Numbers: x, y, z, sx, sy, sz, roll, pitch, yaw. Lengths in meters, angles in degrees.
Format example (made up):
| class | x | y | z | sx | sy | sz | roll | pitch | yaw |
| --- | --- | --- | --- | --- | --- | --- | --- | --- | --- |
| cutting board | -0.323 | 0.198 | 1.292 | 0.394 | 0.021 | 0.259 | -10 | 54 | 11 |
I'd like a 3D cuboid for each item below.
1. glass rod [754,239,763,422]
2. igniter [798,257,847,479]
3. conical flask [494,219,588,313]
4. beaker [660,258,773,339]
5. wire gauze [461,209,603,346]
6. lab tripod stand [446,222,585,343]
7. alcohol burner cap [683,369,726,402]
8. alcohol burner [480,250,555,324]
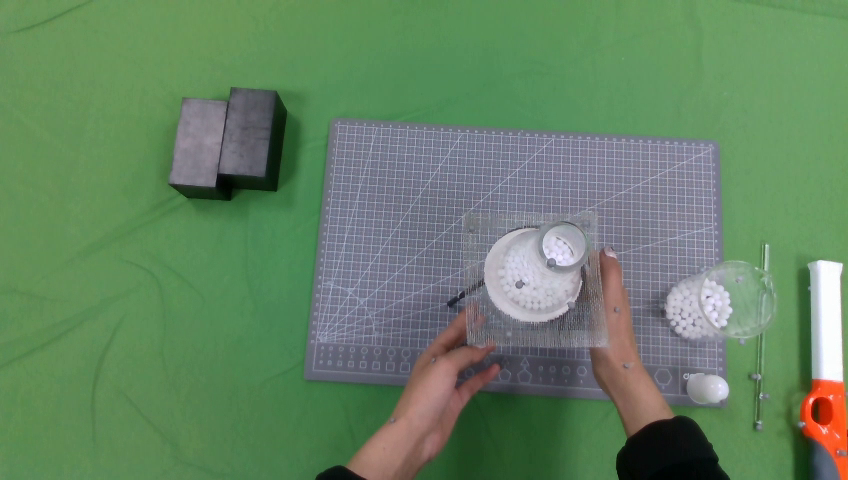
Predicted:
| class | x | y | z | sx | sy | sz | roll | pitch | yaw |
| --- | --- | --- | --- | --- | --- | --- | --- | --- | --- |
| glass rod | 0.364 | 0.095 | 0.658 | 0.008 | 0.008 | 0.199 | 7 | 78 | 1 |
| igniter | 0.420 | 0.155 | 0.635 | 0.057 | 0.025 | 0.275 | 8 | 79 | -8 |
| conical flask | 0.097 | 0.015 | 0.479 | 0.075 | 0.122 | 0.075 | 0 | 78 | 1 |
| beaker | 0.293 | 0.062 | 0.615 | 0.084 | 0.100 | 0.073 | -33 | 80 | -7 |
| wire gauze | 0.096 | 0.032 | 0.536 | 0.125 | 0.011 | 0.121 | 0 | 80 | -2 |
| lab tripod stand | 0.095 | 0.044 | 0.601 | 0.148 | 0.132 | 0.148 | 0 | 79 | 1 |
| alcohol burner cap | 0.293 | 0.151 | 0.626 | 0.034 | 0.048 | 0.033 | 0 | 78 | 1 |
| alcohol burner | 0.096 | 0.044 | 0.611 | 0.078 | 0.119 | 0.077 | 0 | 76 | 2 |
